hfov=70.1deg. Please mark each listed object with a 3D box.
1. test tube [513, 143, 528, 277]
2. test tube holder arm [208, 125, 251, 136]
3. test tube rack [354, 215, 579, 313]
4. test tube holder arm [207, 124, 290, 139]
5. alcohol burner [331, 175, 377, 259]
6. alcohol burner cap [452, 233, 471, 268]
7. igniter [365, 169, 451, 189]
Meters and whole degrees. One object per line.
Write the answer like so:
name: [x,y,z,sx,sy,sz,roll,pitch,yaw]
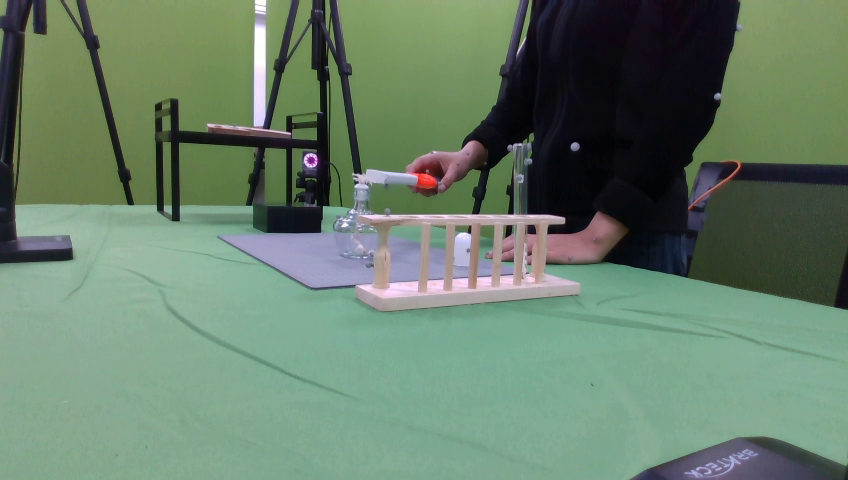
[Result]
test tube: [0.108,-0.033,0.677,0.017,0.150,0.017,-1,8,1]
test tube holder arm: [-0.418,-0.234,1.299,0.088,0.015,0.010,1,41,-31]
test tube rack: [0.053,0.019,0.635,0.243,0.085,0.066,-1,8,-29]
test tube holder arm: [-0.381,-0.237,1.327,0.179,0.015,0.013,0,42,-32]
alcohol burner: [-0.091,-0.033,0.855,0.078,0.119,0.078,4,7,0]
alcohol burner cap: [0.053,0.014,0.823,0.034,0.048,0.034,3,6,0]
igniter: [-0.018,-0.099,0.994,0.057,0.025,0.277,14,8,21]
